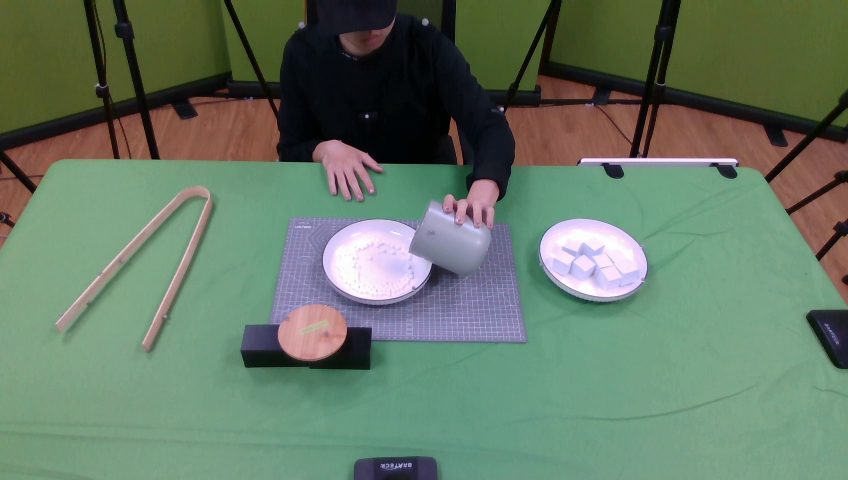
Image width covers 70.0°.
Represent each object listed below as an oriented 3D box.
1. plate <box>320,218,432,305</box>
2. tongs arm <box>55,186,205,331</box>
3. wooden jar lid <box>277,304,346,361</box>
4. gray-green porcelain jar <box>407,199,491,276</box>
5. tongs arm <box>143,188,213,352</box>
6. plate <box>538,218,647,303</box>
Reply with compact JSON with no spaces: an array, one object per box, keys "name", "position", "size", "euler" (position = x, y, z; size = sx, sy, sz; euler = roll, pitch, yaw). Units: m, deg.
[{"name":"plate","position":[-0.089,0.044,1.134],"size":[0.209,0.038,0.208],"euler":[2,46,-2]},{"name":"tongs arm","position":[-0.530,0.022,1.125],"size":[0.051,0.026,0.383],"euler":[15,46,8]},{"name":"wooden jar lid","position":[-0.179,0.150,0.972],"size":[0.108,0.021,0.107],"euler":[2,45,-2]},{"name":"gray-green porcelain jar","position":[0.048,-0.001,1.084],"size":[0.126,0.106,0.105],"euler":[24,47,-5]},{"name":"tongs arm","position":[-0.449,0.040,1.122],"size":[0.028,0.028,0.385],"euler":[2,46,1]},{"name":"plate","position":[0.322,0.043,1.171],"size":[0.208,0.039,0.206],"euler":[2,46,-2]}]
